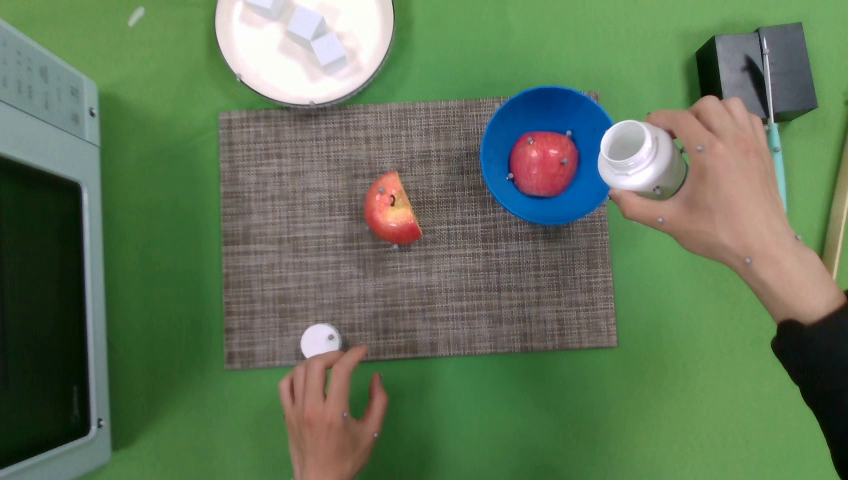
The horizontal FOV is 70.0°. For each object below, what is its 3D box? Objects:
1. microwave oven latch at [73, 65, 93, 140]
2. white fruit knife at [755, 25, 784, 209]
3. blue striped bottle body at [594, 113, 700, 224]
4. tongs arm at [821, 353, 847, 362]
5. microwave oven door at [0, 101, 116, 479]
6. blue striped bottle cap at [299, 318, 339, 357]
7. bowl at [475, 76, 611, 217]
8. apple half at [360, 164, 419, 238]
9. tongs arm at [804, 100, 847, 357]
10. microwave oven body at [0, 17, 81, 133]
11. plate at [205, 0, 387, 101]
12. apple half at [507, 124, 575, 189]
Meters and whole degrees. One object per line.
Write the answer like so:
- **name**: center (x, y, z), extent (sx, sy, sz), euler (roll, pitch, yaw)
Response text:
- **microwave oven latch**: center (-0.392, -0.153, 0.679), extent (0.030, 0.029, 0.079), euler (-5, 87, -1)
- **white fruit knife**: center (0.383, -0.133, 0.676), extent (0.016, 0.027, 0.208), euler (-10, 103, 16)
- **blue striped bottle body**: center (0.193, -0.064, 0.531), extent (0.063, 0.122, 0.062), euler (-19, 57, 33)
- **tongs arm**: center (0.564, -0.028, 0.697), extent (0.051, 0.026, 0.384), euler (26, 87, 2)
- **microwave oven door**: center (-0.374, 0.056, 0.563), extent (0.039, 0.244, 0.355), euler (-6, 86, 0)
- **blue striped bottle cap**: center (-0.119, 0.111, 0.688), extent (0.044, 0.020, 0.044), euler (0, 85, -3)
- **bowl**: center (0.129, -0.095, 0.672), extent (0.151, 0.077, 0.151), euler (0, 86, 1)
- **apple half**: center (-0.043, -0.037, 0.670), extent (0.053, 0.074, 0.081), euler (-23, 90, 2)
- **tongs arm**: center (0.488, -0.058, 0.703), extent (0.028, 0.028, 0.387), euler (13, 86, -1)
- **microwave oven body**: center (-0.524, 0.028, 0.568), extent (0.326, 0.260, 0.441), euler (-5, 86, -1)
- **plate**: center (-0.146, -0.260, 0.707), extent (0.208, 0.039, 0.207), euler (0, 86, -1)
- **apple half**: center (0.131, -0.095, 0.668), extent (0.081, 0.033, 0.081), euler (0, 85, 1)
